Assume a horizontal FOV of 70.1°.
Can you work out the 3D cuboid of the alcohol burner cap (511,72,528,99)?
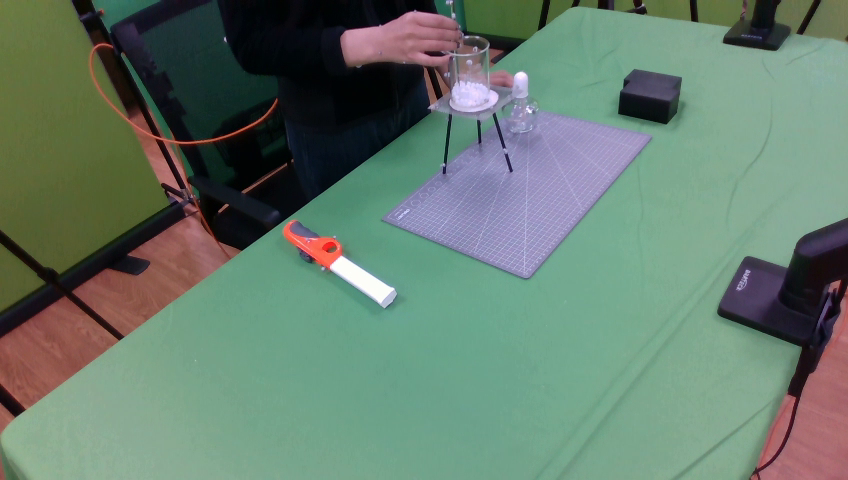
[{"bbox_3d":[0.185,-0.302,1.171,0.034,0.048,0.033,-2,42,2],"label":"alcohol burner cap"}]

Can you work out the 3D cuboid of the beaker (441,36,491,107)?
[{"bbox_3d":[0.074,-0.286,1.036,0.084,0.101,0.073,-1,41,8],"label":"beaker"}]

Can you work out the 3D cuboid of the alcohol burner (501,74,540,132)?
[{"bbox_3d":[0.191,-0.275,1.194,0.078,0.119,0.077,-4,42,4],"label":"alcohol burner"}]

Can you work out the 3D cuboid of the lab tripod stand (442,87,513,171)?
[{"bbox_3d":[0.097,-0.200,1.108,0.148,0.132,0.147,-4,40,4],"label":"lab tripod stand"}]

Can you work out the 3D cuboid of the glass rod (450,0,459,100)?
[{"bbox_3d":[0.050,-0.321,0.997,0.008,0.200,0.008,-4,42,4],"label":"glass rod"}]

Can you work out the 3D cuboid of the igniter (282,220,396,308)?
[{"bbox_3d":[-0.146,0.032,0.966,0.274,0.025,0.057,30,64,37],"label":"igniter"}]

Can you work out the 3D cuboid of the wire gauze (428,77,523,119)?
[{"bbox_3d":[0.091,-0.249,1.063,0.120,0.011,0.125,24,48,30],"label":"wire gauze"}]
